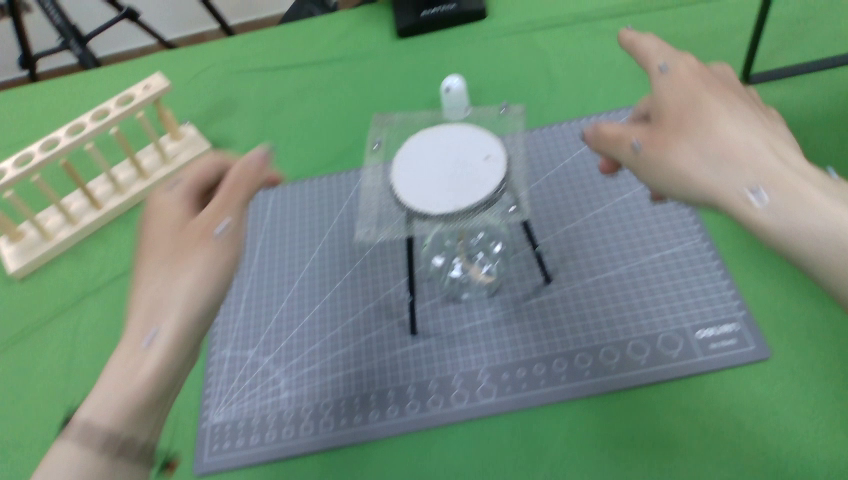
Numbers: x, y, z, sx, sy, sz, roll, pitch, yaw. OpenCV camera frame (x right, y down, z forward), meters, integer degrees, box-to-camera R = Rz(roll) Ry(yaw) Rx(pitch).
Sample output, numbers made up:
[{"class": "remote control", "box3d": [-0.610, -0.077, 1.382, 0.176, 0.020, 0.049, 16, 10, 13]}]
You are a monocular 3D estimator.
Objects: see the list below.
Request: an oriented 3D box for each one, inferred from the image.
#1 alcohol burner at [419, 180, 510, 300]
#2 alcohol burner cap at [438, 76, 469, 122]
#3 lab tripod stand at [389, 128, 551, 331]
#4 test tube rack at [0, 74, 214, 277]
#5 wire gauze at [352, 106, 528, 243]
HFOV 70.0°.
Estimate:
[{"class": "alcohol burner", "box3d": [0.031, -0.004, 0.498, 0.078, 0.120, 0.077, -7, 50, 8]}, {"class": "alcohol burner cap", "box3d": [0.031, -0.158, 0.669, 0.034, 0.048, 0.033, -6, 52, 9]}, {"class": "lab tripod stand", "box3d": [0.028, -0.008, 0.490, 0.148, 0.133, 0.147, -5, 54, 8]}, {"class": "test tube rack", "box3d": [-0.363, -0.073, 0.658, 0.242, 0.086, 0.066, -38, 54, -17]}, {"class": "wire gauze", "box3d": [0.012, -0.053, 0.440, 0.121, 0.011, 0.124, -4, 54, 9]}]
